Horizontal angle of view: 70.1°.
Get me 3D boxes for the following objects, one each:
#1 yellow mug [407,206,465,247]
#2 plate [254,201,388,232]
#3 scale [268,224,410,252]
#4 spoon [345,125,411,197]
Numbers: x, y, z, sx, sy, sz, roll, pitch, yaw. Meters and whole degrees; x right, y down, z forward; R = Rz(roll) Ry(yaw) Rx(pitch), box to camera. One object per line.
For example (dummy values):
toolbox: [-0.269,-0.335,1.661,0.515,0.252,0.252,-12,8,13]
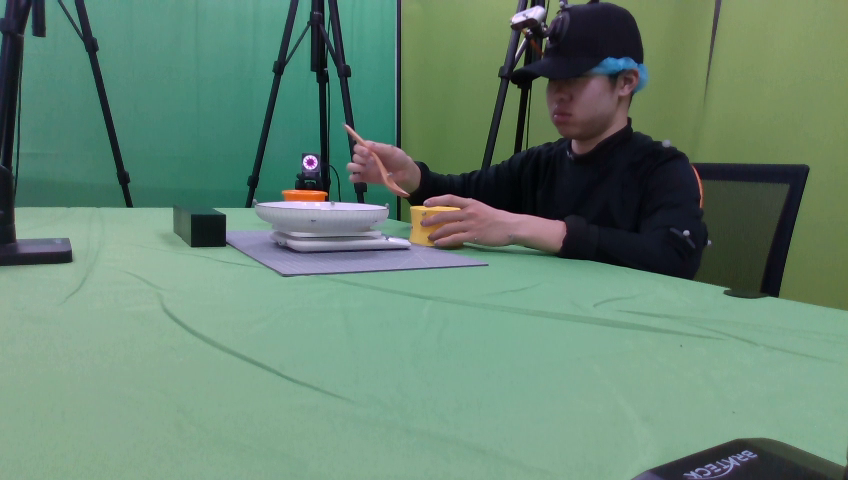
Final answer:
yellow mug: [0.026,-0.027,1.104,0.099,0.064,0.131,7,7,20]
plate: [-0.161,-0.037,0.961,0.209,0.038,0.209,2,6,0]
scale: [-0.137,-0.006,0.979,0.202,0.031,0.148,-1,8,-30]
spoon: [-0.085,-0.143,1.084,0.193,0.021,0.042,54,18,21]
